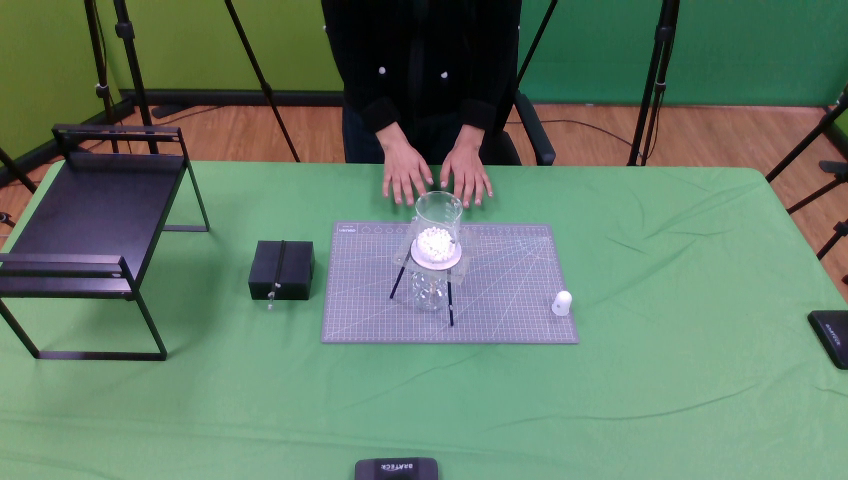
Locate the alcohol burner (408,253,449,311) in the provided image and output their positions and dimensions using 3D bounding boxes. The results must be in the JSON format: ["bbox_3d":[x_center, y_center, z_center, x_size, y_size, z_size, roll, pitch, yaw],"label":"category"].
[{"bbox_3d":[0.011,0.069,1.061,0.078,0.120,0.077,1,46,0],"label":"alcohol burner"}]

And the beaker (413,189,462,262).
[{"bbox_3d":[0.022,-0.018,0.973,0.074,0.101,0.083,-19,51,-19],"label":"beaker"}]

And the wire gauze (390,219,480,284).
[{"bbox_3d":[0.020,0.013,1.011,0.125,0.011,0.121,14,46,14],"label":"wire gauze"}]

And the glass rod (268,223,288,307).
[{"bbox_3d":[-0.259,0.041,1.080,0.008,0.008,0.198,2,46,-2],"label":"glass rod"}]

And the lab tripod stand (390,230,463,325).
[{"bbox_3d":[0.014,0.060,1.056,0.148,0.132,0.147,1,48,-1],"label":"lab tripod stand"}]

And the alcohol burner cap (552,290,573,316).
[{"bbox_3d":[0.250,0.109,1.088,0.034,0.048,0.033,3,46,-3],"label":"alcohol burner cap"}]
